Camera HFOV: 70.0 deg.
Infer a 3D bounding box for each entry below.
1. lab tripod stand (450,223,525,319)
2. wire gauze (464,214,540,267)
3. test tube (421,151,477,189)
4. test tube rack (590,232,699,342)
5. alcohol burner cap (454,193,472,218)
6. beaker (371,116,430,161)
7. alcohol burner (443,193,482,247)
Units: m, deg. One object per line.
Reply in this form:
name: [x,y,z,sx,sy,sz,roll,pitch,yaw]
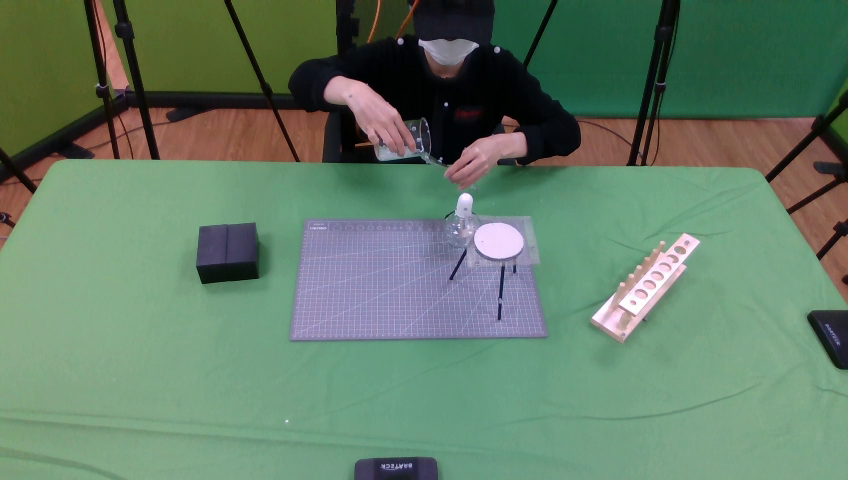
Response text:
lab tripod stand: [0.120,0.046,1.080,0.148,0.132,0.147,1,47,-1]
wire gauze: [0.131,-0.002,1.034,0.121,0.011,0.124,1,45,-2]
test tube: [0.053,-0.140,1.228,0.151,0.017,0.017,27,35,-34]
test tube rack: [0.407,0.074,1.112,0.066,0.085,0.242,35,53,26]
alcohol burner cap: [0.076,-0.068,1.151,0.034,0.048,0.033,4,46,-4]
beaker: [-0.046,-0.189,1.153,0.100,0.084,0.073,-9,35,-13]
alcohol burner: [0.075,-0.044,1.177,0.078,0.120,0.077,2,44,-1]
